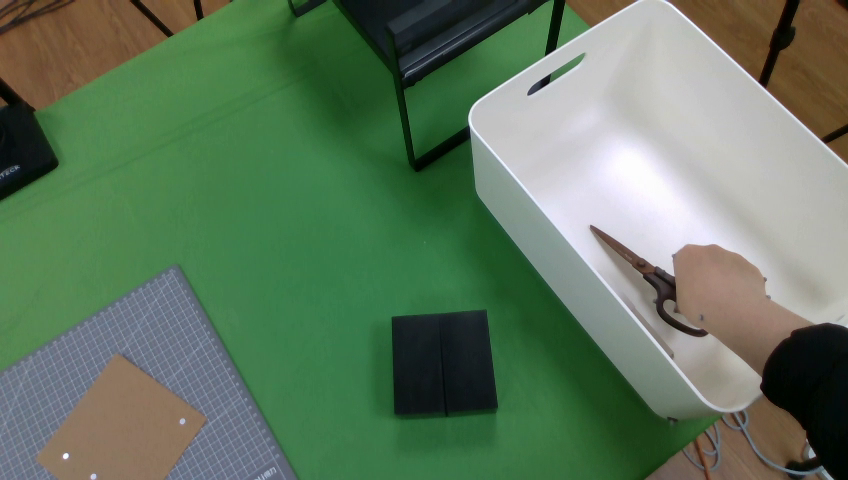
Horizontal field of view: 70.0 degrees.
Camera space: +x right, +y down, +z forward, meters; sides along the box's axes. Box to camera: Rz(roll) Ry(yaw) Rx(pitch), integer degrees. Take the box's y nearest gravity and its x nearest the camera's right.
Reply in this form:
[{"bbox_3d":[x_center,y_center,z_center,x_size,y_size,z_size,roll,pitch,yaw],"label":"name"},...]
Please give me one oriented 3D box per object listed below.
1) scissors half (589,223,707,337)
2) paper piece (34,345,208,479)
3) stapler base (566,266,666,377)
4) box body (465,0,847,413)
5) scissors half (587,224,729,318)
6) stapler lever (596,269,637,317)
[{"bbox_3d":[0.234,0.038,0.656,0.040,0.013,0.173,-28,54,-9],"label":"scissors half"},{"bbox_3d":[-0.325,0.206,0.648,0.137,0.009,0.135,31,78,12],"label":"paper piece"},{"bbox_3d":[0.207,0.085,0.654,0.041,0.024,0.130,-37,80,0],"label":"stapler base"},{"bbox_3d":[0.242,-0.033,0.627,0.254,0.161,0.361,-34,71,-9],"label":"box body"},{"bbox_3d":[0.250,0.027,0.661,0.173,0.013,0.040,35,63,29],"label":"scissors half"},{"bbox_3d":[0.206,0.081,0.629,0.027,0.040,0.117,-37,79,0],"label":"stapler lever"}]
